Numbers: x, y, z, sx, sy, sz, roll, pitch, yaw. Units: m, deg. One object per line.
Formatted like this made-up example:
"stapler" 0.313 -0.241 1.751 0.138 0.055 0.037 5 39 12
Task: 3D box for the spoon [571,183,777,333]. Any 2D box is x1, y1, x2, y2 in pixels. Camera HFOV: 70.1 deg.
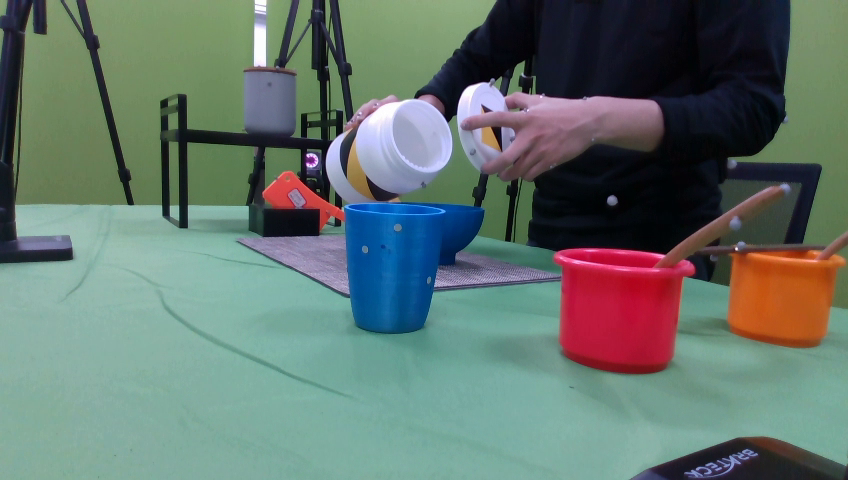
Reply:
"spoon" 0.161 0.020 0.413 0.042 0.021 0.193 1 -36 -24

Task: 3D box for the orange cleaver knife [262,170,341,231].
"orange cleaver knife" -0.201 -0.057 1.136 0.212 0.077 0.012 31 -4 -32

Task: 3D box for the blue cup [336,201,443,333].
"blue cup" -0.029 0.021 0.508 0.093 0.100 0.092 3 9 0

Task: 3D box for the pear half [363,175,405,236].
"pear half" -0.064 -0.061 1.077 0.055 0.110 0.077 9 14 39

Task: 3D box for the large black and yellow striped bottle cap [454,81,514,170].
"large black and yellow striped bottle cap" 0.080 -0.148 0.782 0.018 0.115 0.115 -7 0 39

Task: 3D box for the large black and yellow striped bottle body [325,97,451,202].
"large black and yellow striped bottle body" -0.055 -0.132 0.918 0.131 0.130 0.183 -3 -10 -35

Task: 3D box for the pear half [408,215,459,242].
"pear half" 0.011 -0.019 0.848 0.070 0.031 0.088 5 12 32

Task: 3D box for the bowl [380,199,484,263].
"bowl" 0.007 -0.012 0.842 0.151 0.077 0.151 2 8 0

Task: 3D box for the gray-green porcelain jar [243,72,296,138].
"gray-green porcelain jar" -0.322 -0.279 1.263 0.106 0.126 0.106 3 8 0

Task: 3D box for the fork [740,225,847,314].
"fork" 0.323 0.013 0.485 0.028 0.018 0.207 8 -38 -5

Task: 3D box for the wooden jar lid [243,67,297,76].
"wooden jar lid" -0.319 -0.342 1.254 0.108 0.020 0.108 3 8 0

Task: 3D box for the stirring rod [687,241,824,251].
"stirring rod" 0.289 0.005 0.525 0.177 0.006 0.014 -1 5 -26
